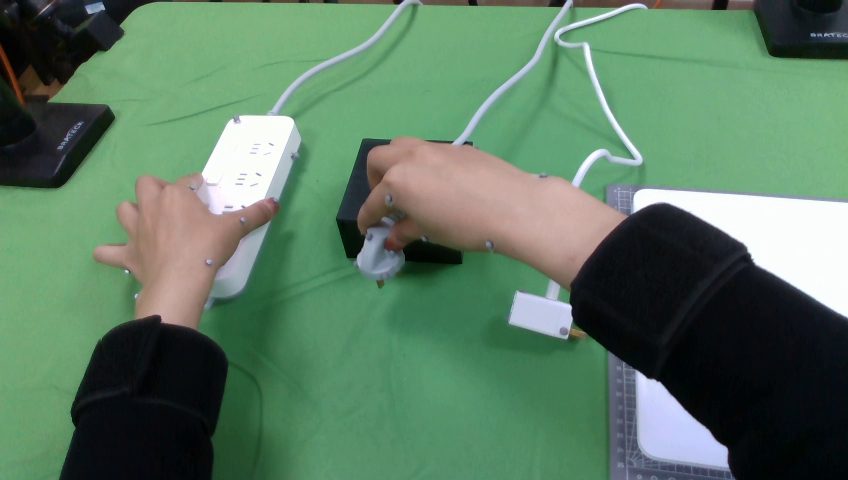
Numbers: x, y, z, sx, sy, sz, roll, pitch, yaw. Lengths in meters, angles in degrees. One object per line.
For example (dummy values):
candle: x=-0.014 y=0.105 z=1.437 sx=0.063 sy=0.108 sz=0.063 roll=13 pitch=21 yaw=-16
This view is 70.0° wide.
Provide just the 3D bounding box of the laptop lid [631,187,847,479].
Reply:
laptop lid: x=0.326 y=0.060 z=0.418 sx=0.356 sy=0.013 sz=0.240 roll=7 pitch=53 yaw=11

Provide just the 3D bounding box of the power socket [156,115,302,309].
power socket: x=-0.172 y=-0.039 z=0.558 sx=0.072 sy=0.033 sz=0.224 roll=3 pitch=50 yaw=7

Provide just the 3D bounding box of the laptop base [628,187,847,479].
laptop base: x=0.328 y=0.066 z=0.428 sx=0.353 sy=0.023 sz=0.233 roll=6 pitch=54 yaw=10

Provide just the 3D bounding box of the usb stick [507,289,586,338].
usb stick: x=0.093 y=0.056 z=0.450 sx=0.059 sy=0.021 sz=0.027 roll=18 pitch=89 yaw=5

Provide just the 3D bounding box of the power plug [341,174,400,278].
power plug: x=-0.042 y=-0.008 z=0.442 sx=0.035 sy=0.073 sz=0.053 roll=4 pitch=20 yaw=33
